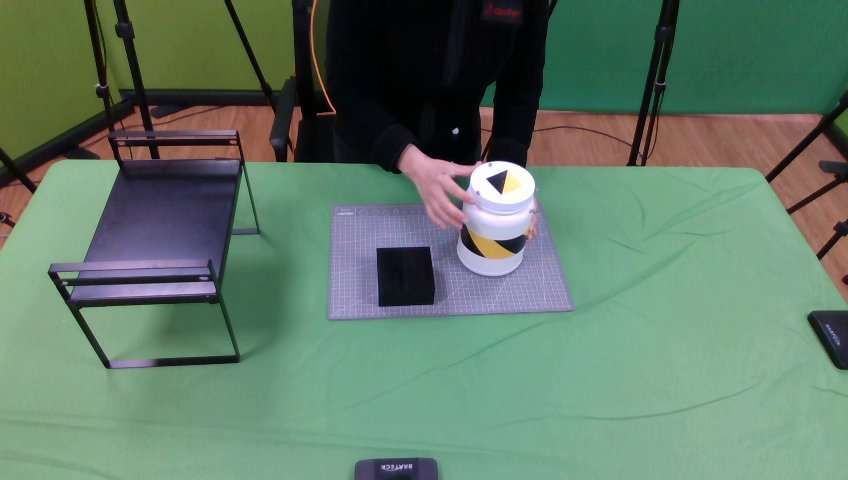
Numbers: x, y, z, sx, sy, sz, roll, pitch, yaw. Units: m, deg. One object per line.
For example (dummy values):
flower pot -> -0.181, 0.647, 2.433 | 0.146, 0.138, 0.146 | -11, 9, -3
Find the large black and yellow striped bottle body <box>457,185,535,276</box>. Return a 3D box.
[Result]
large black and yellow striped bottle body -> 0.134, -0.037, 1.124 | 0.131, 0.185, 0.130 | 2, 46, -2

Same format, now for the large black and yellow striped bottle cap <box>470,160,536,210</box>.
large black and yellow striped bottle cap -> 0.138, -0.098, 1.063 | 0.115, 0.019, 0.114 | 3, 47, -3
